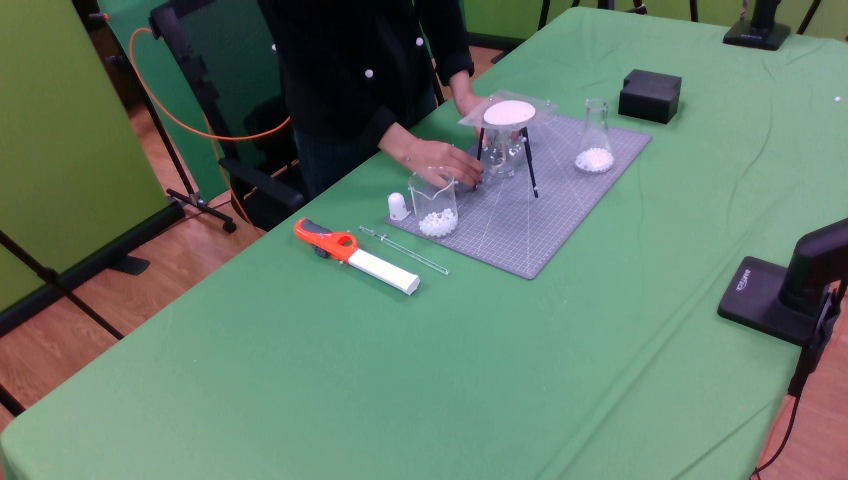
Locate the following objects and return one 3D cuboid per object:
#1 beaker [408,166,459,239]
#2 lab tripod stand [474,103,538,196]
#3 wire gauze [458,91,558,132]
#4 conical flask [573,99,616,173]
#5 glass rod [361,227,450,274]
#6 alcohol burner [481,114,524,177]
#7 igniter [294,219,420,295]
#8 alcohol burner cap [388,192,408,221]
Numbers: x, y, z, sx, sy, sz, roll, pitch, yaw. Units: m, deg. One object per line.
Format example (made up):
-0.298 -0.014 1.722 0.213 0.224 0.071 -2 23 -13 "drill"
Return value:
0.018 -0.057 0.984 0.074 0.101 0.083 -6 41 5 "beaker"
0.154 -0.162 1.052 0.148 0.132 0.147 -8 36 6 "lab tripod stand"
0.140 -0.215 1.012 0.120 0.011 0.125 23 48 37 "wire gauze"
0.302 -0.184 1.061 0.075 0.122 0.075 -5 40 5 "conical flask"
-0.034 0.015 0.985 0.198 0.008 0.008 26 52 34 "glass rod"
0.140 -0.173 1.087 0.078 0.119 0.077 -4 40 4 "alcohol burner"
-0.118 0.022 0.977 0.274 0.025 0.057 24 60 34 "igniter"
-0.047 -0.059 1.043 0.034 0.048 0.033 -5 41 5 "alcohol burner cap"
